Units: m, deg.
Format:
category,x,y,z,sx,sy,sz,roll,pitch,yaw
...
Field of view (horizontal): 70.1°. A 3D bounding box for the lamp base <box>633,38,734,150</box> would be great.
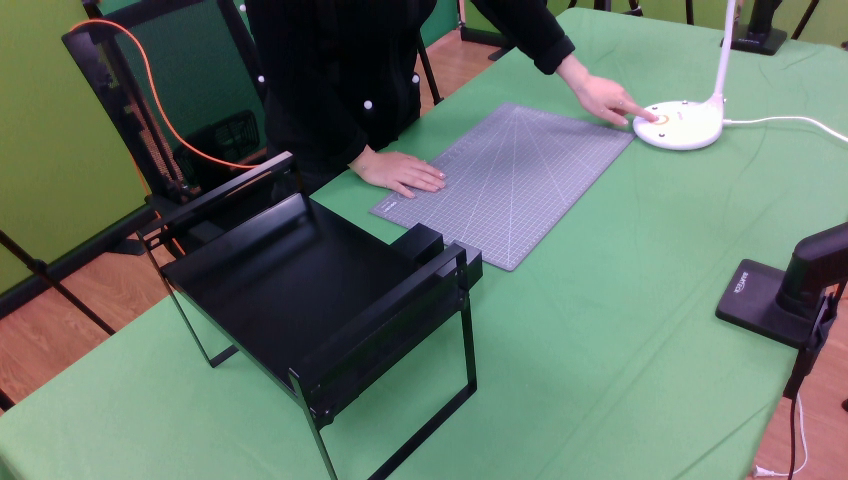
category,x,y,z,sx,sy,sz,roll,pitch,yaw
lamp base,0.487,-0.280,1.107,0.179,0.181,0.159,-5,41,-1
